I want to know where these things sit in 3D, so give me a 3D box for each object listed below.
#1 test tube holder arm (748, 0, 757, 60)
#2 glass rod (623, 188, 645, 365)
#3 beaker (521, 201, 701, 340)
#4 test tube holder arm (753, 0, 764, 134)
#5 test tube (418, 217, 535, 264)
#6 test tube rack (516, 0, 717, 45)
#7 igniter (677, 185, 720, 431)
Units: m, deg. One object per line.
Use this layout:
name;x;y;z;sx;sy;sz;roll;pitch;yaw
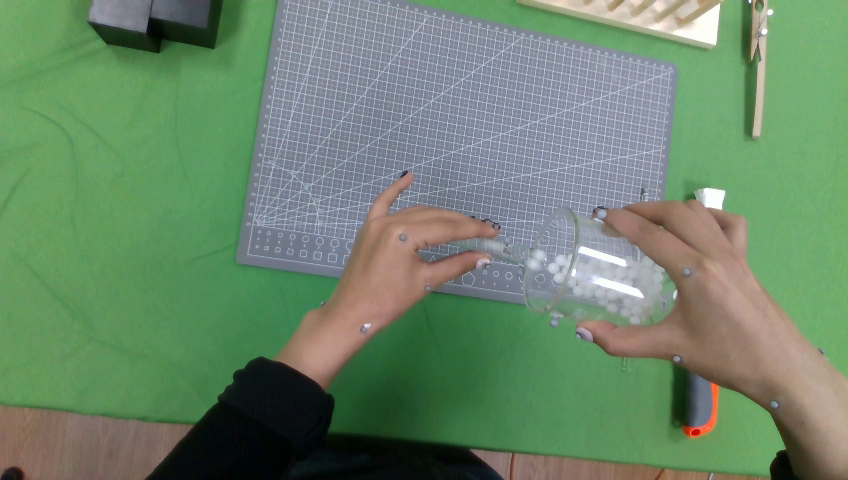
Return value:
test tube holder arm;0.392;-0.260;0.723;0.010;0.015;0.087;0;87;25
glass rod;0.234;0.040;0.676;0.008;0.008;0.199;8;85;-11
beaker;0.127;0.024;0.416;0.100;0.084;0.074;17;87;-11
test tube holder arm;0.397;-0.215;0.718;0.013;0.015;0.178;-1;87;25
test tube;0.038;-0.002;0.505;0.017;0.149;0.017;-8;104;-31
test tube rack;0.228;-0.283;0.656;0.243;0.085;0.066;9;85;-11
igniter;0.312;0.075;0.684;0.057;0.025;0.276;6;86;-21
